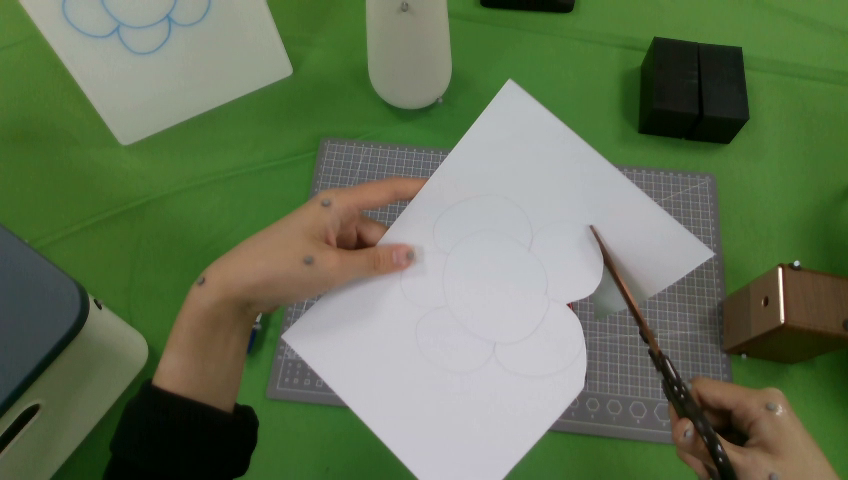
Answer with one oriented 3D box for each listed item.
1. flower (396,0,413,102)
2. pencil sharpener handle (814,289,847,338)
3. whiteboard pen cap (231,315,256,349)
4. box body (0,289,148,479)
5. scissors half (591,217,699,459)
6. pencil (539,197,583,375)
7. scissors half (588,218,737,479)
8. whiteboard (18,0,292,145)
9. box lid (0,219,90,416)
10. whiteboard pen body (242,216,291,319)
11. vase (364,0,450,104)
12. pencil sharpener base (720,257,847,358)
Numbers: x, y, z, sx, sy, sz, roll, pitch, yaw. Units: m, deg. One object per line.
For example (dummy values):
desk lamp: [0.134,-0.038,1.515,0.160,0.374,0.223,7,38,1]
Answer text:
flower: [-0.027,-0.281,0.572,0.044,0.365,0.038,-1,50,3]
pencil sharpener handle: [0.389,0.072,0.554,0.030,0.068,0.035,10,62,1]
whiteboard pen cap: [-0.178,0.090,0.602,0.018,0.018,0.033,12,63,5]
box body: [-0.470,0.078,0.531,0.362,0.161,0.253,31,71,12]
scissors half: [0.140,0.062,0.374,0.013,0.040,0.176,-26,105,10]
pencil: [0.143,0.043,0.628,0.012,0.012,0.192,-7,69,-3]
scissors half: [0.137,0.065,0.353,0.013,0.040,0.174,-27,83,5]
whiteboard: [-0.309,-0.298,0.644,0.217,0.308,0.142,-27,50,-10]
box lid: [-0.472,0.048,0.463,0.370,0.015,0.262,31,70,12]
whiteboard pen body: [-0.165,0.038,0.626,0.017,0.017,0.140,12,66,6]
vase: [-0.020,-0.235,0.643,0.098,0.201,0.097,0,66,1]
pencil sharpener base: [0.338,0.067,0.567,0.077,0.107,0.061,10,67,1]
